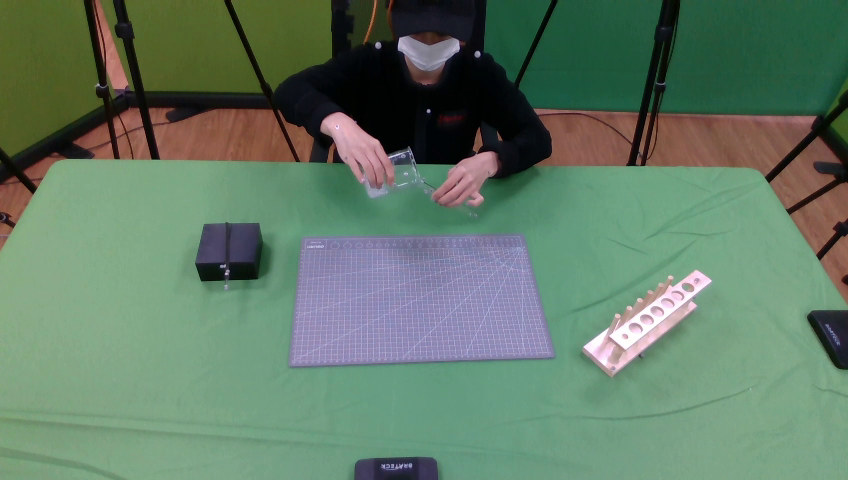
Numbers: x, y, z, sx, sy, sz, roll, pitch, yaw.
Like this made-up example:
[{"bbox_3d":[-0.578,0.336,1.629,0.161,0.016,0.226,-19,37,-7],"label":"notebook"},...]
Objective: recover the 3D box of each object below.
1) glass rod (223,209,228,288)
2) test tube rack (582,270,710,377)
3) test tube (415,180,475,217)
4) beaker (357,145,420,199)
[{"bbox_3d":[-0.360,0.010,1.098,0.008,0.008,0.198,-7,47,-12],"label":"glass rod"},{"bbox_3d":[0.389,0.132,1.057,0.242,0.085,0.066,-28,53,-28],"label":"test tube rack"},{"bbox_3d":[0.043,-0.078,1.168,0.151,0.017,0.017,26,35,-33],"label":"test tube"},{"bbox_3d":[-0.064,-0.119,1.100,0.100,0.084,0.073,-18,42,-3],"label":"beaker"}]
